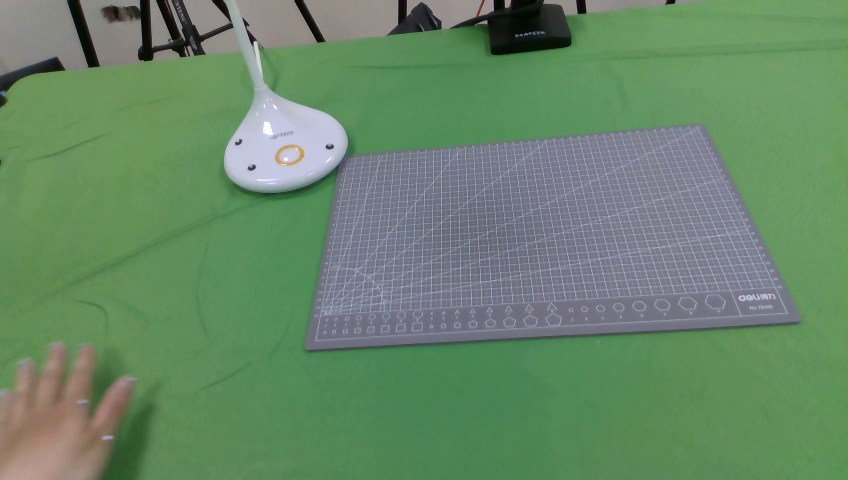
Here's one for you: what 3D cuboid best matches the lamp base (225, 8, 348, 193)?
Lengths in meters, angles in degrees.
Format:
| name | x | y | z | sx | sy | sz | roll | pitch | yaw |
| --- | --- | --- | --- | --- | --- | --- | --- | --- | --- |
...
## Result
| name | x | y | z | sx | sy | sz | roll | pitch | yaw |
| --- | --- | --- | --- | --- | --- | --- | --- | --- | --- |
| lamp base | -0.193 | -0.176 | 0.738 | 0.161 | 0.182 | 0.177 | -26 | 44 | -15 |
